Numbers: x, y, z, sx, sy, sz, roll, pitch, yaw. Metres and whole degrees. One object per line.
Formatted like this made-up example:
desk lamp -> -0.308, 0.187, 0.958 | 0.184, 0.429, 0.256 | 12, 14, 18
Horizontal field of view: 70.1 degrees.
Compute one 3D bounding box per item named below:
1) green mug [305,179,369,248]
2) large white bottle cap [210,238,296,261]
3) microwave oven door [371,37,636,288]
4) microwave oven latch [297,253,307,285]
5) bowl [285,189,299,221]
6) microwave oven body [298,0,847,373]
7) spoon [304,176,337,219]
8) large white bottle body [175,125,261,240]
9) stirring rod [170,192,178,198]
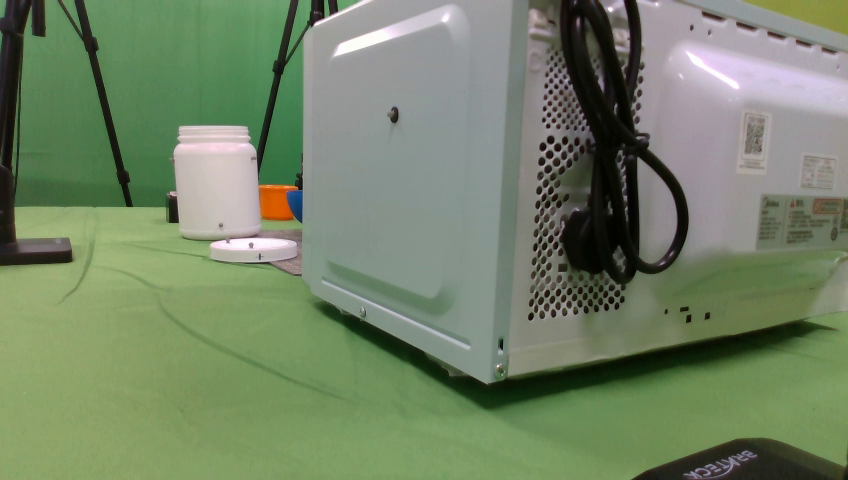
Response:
green mug -> -0.133, -0.045, 0.977 | 0.092, 0.105, 0.126 | 6, 8, 32
large white bottle cap -> -0.236, 0.012, 0.839 | 0.115, 0.018, 0.115 | 1, 7, 0
microwave oven door -> 0.109, -0.080, 0.686 | 0.358, 0.243, 0.039 | -2, 9, -33
microwave oven latch -> -0.081, 0.027, 0.582 | 0.079, 0.029, 0.030 | -1, 7, -32
bowl -> -0.180, -0.050, 1.113 | 0.151, 0.077, 0.151 | 3, 8, 0
microwave oven body -> 0.151, -0.055, 0.542 | 0.444, 0.260, 0.324 | -2, 7, -33
spoon -> -0.201, -0.084, 1.146 | 0.042, 0.021, 0.193 | 4, 29, -25
large white bottle body -> -0.349, -0.100, 1.025 | 0.131, 0.184, 0.130 | -1, 9, 0
stirring rod -> -0.465, -0.098, 1.283 | 0.014, 0.006, 0.177 | 42, 21, 17
